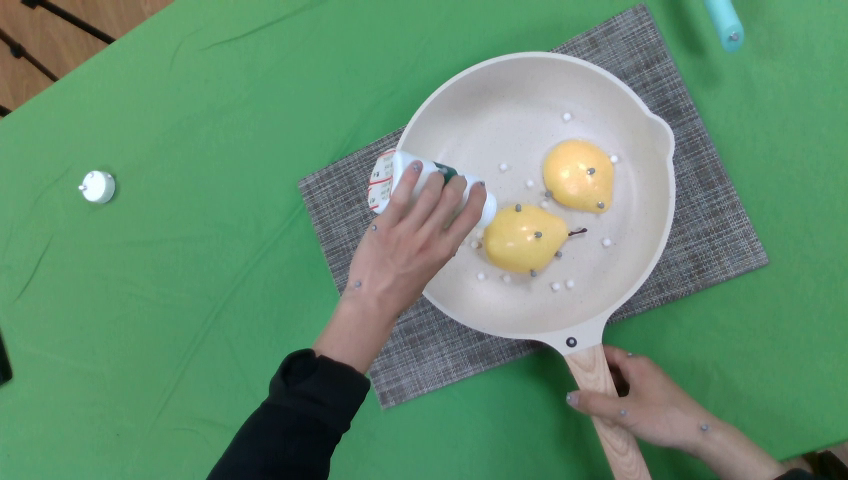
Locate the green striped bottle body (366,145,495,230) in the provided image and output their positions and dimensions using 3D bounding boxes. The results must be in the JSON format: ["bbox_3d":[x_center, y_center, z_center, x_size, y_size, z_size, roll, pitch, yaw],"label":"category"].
[{"bbox_3d":[0.010,-0.046,0.584,0.063,0.120,0.062,-29,54,52],"label":"green striped bottle body"}]

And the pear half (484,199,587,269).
[{"bbox_3d":[0.118,-0.008,0.644,0.109,0.056,0.076,-11,91,14],"label":"pear half"}]

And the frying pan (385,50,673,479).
[{"bbox_3d":[0.135,0.048,0.614,0.306,0.103,0.484,-22,74,16],"label":"frying pan"}]

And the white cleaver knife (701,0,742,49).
[{"bbox_3d":[0.254,-0.320,0.609,0.021,0.066,0.285,-22,80,21],"label":"white cleaver knife"}]

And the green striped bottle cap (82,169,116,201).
[{"bbox_3d":[-0.453,-0.077,0.845,0.044,0.020,0.044,-1,88,18],"label":"green striped bottle cap"}]

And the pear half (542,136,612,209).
[{"bbox_3d":[0.164,-0.071,0.643,0.070,0.031,0.087,-40,74,17],"label":"pear half"}]
